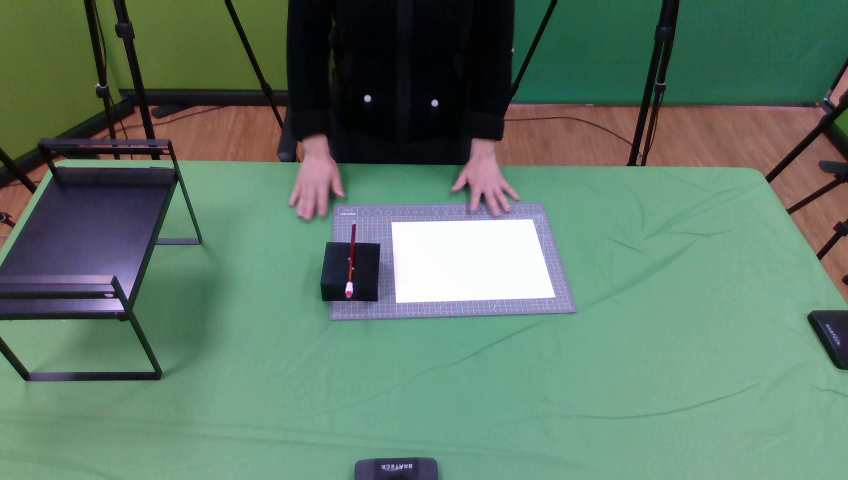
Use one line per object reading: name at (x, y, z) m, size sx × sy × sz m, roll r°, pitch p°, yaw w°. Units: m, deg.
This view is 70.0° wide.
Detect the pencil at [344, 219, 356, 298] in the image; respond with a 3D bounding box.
pencil at (-0.132, 0.028, 1.097) m, size 0.012 × 0.012 × 0.193 m, roll 1°, pitch 46°, yaw -3°
